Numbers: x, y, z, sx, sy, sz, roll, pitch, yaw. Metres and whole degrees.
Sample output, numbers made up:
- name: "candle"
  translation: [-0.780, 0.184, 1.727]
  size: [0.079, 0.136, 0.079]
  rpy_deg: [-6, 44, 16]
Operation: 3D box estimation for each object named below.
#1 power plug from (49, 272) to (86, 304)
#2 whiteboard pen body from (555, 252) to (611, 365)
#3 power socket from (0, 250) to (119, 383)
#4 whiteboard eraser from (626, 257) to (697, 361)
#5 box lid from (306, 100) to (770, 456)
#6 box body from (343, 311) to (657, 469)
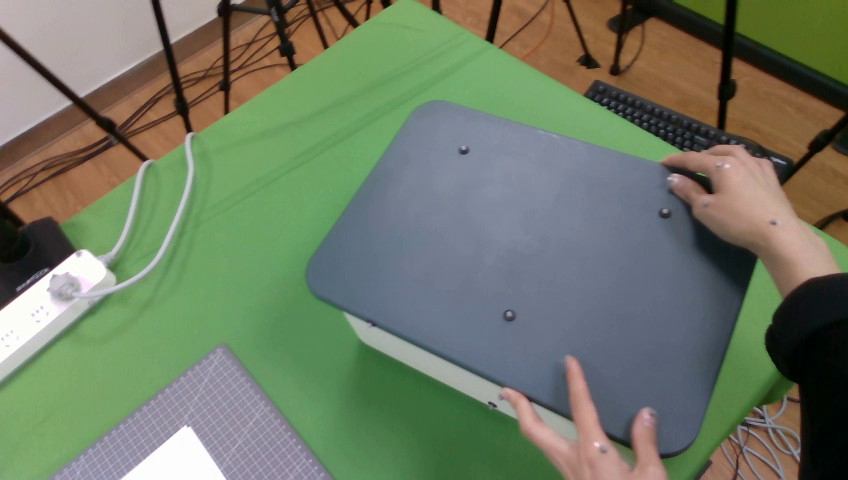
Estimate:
- name: "power plug"
  translation: [-0.435, 0.069, 0.747]
  size: [0.035, 0.053, 0.072]
  rpy_deg: [-35, 65, -16]
- name: "whiteboard pen body"
  translation: [0.170, 0.073, 0.649]
  size: [0.017, 0.017, 0.140]
  rpy_deg: [22, 67, 22]
- name: "power socket"
  translation: [-0.489, 0.100, 0.760]
  size: [0.071, 0.033, 0.226]
  rpy_deg: [35, 66, 26]
- name: "whiteboard eraser"
  translation: [0.256, 0.074, 0.651]
  size: [0.055, 0.042, 0.112]
  rpy_deg: [11, 59, 24]
- name: "box lid"
  translation: [0.096, 0.004, 0.562]
  size: [0.369, 0.015, 0.262]
  rpy_deg: [22, 65, 21]
- name: "box body"
  translation: [0.113, 0.043, 0.637]
  size: [0.362, 0.162, 0.253]
  rpy_deg: [22, 61, 21]
